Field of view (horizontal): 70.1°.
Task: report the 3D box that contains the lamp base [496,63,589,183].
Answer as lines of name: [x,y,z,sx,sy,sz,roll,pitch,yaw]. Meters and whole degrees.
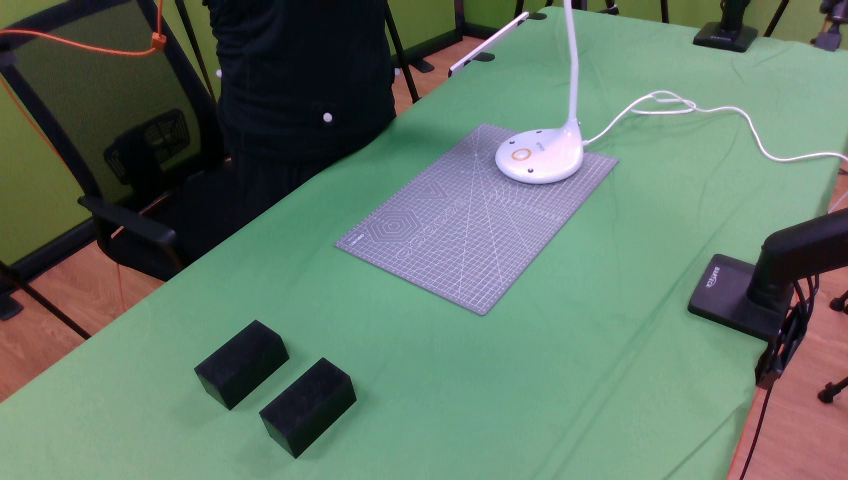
lamp base: [0.216,-0.217,1.067,0.180,0.181,0.159,-19,42,-18]
